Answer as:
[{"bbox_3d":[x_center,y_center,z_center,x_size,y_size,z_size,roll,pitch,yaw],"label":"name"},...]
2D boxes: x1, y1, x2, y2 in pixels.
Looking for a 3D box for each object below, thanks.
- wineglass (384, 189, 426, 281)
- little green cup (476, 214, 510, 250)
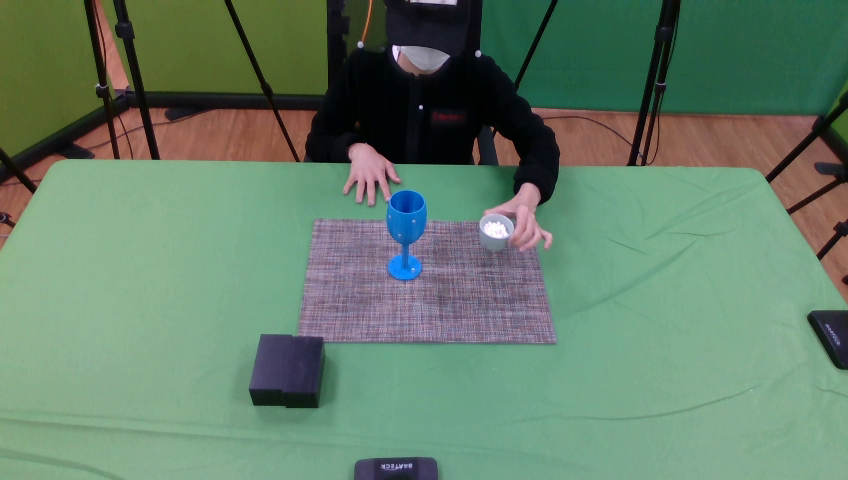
[{"bbox_3d":[-0.035,-0.006,1.091,0.074,0.173,0.073,2,46,-2],"label":"wineglass"},{"bbox_3d":[0.121,-0.013,1.081,0.061,0.039,0.061,3,49,-4],"label":"little green cup"}]
